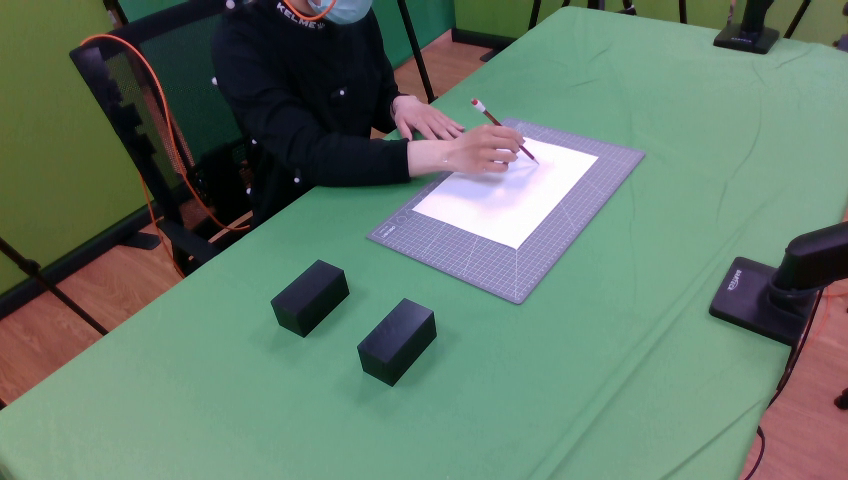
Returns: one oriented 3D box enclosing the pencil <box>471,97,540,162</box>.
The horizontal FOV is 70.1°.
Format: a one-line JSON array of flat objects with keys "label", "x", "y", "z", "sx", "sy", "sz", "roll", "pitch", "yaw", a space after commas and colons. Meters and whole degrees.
[{"label": "pencil", "x": 0.147, "y": -0.190, "z": 1.059, "sx": 0.012, "sy": 0.196, "sz": 0.012, "roll": -31, "pitch": 41, "yaw": 32}]
